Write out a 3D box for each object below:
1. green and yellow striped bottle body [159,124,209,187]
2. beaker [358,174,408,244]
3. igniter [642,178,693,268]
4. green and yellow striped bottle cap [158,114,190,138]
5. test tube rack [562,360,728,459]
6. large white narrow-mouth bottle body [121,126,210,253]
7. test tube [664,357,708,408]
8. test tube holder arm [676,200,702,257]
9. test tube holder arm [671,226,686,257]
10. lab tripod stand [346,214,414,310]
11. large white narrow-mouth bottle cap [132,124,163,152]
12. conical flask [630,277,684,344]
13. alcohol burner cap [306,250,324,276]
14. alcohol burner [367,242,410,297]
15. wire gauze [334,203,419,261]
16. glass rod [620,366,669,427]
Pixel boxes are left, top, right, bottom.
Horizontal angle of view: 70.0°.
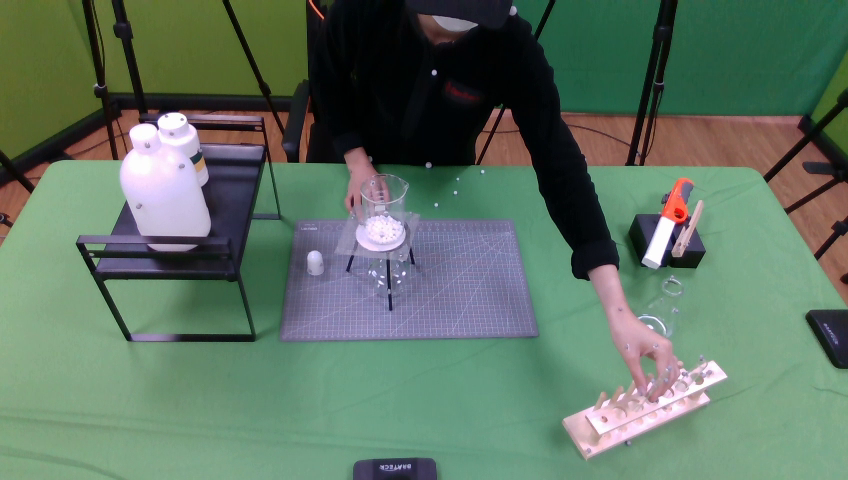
[{"bbox_3d":[-0.395,-0.145,0.989,0.063,0.120,0.063,2,46,-2],"label":"green and yellow striped bottle body"},{"bbox_3d":[-0.066,-0.050,1.001,0.084,0.101,0.073,-18,49,-20],"label":"beaker"},{"bbox_3d":[0.488,-0.042,1.205,0.057,0.025,0.276,30,51,11],"label":"igniter"},{"bbox_3d":[-0.393,-0.179,0.951,0.045,0.020,0.045,2,44,-2],"label":"green and yellow striped bottle cap"},{"bbox_3d":[0.341,0.248,0.940,0.243,0.085,0.066,-16,49,-18],"label":"test tube rack"},{"bbox_3d":[-0.378,-0.077,0.875,0.102,0.195,0.101,3,46,-3],"label":"large white narrow-mouth bottle body"},{"bbox_3d":[0.387,0.216,0.905,0.017,0.151,0.017,1,52,-1],"label":"test tube"},{"bbox_3d":[0.522,-0.025,1.191,0.013,0.015,0.178,-2,34,42],"label":"test tube holder arm"},{"bbox_3d":[0.494,0.001,1.167,0.010,0.015,0.087,-1,35,43],"label":"test tube holder arm"},{"bbox_3d":[-0.075,0.030,1.082,0.148,0.132,0.147,1,47,-1],"label":"lab tripod stand"},{"bbox_3d":[-0.371,-0.137,0.813,0.038,0.024,0.037,3,46,-3],"label":"large white narrow-mouth bottle cap"},{"bbox_3d":[0.408,0.117,1.045,0.075,0.122,0.075,2,46,-2],"label":"conical flask"},{"bbox_3d":[-0.204,0.040,1.125,0.034,0.048,0.033,2,46,-1],"label":"alcohol burner cap"},{"bbox_3d":[-0.064,0.047,1.080,0.078,0.120,0.077,1,47,-1],"label":"alcohol burner"},{"bbox_3d":[-0.079,-0.013,1.031,0.121,0.011,0.124,8,48,7],"label":"wire gauze"},{"bbox_3d":[0.312,0.227,0.865,0.008,0.200,0.008,2,51,-2],"label":"glass rod"}]
